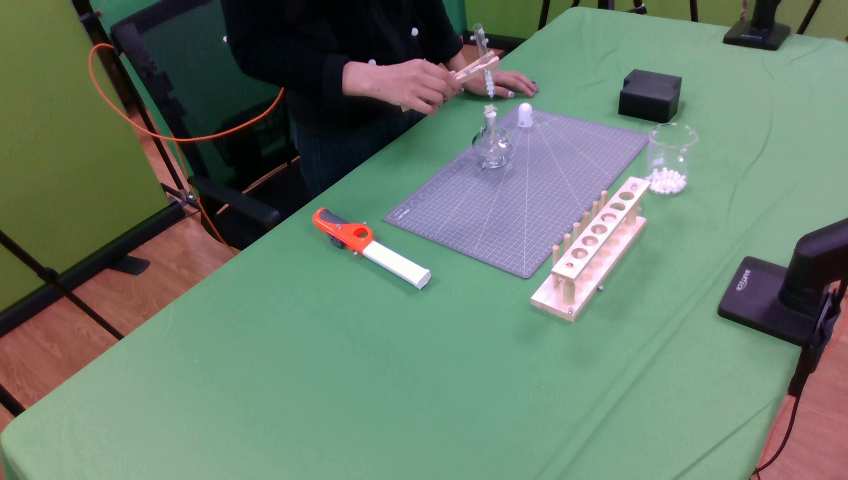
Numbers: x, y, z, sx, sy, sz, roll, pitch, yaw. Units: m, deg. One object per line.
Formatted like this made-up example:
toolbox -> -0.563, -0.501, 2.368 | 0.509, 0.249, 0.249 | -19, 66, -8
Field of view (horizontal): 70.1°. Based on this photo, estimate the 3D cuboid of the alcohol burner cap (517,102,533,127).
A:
alcohol burner cap -> 0.205, -0.255, 1.223 | 0.034, 0.048, 0.033 | -6, 40, 5

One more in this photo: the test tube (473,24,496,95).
test tube -> 0.100, -0.293, 0.994 | 0.017, 0.151, 0.017 | -7, 60, 12

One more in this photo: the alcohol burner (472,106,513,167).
alcohol burner -> 0.125, -0.195, 1.111 | 0.078, 0.119, 0.077 | -5, 42, 5

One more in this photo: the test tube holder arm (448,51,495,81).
test tube holder arm -> 0.079, -0.283, 0.997 | 0.088, 0.015, 0.010 | -33, 58, -5

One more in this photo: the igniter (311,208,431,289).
igniter -> -0.096, 0.008, 0.986 | 0.274, 0.025, 0.057 | 28, 63, 36

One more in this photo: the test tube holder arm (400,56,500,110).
test tube holder arm -> 0.042, -0.257, 0.993 | 0.178, 0.015, 0.013 | -27, 57, -1

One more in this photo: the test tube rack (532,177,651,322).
test tube rack -> 0.247, 0.002, 0.883 | 0.066, 0.085, 0.243 | 22, 49, 32

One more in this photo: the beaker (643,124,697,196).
beaker -> 0.407, -0.132, 1.001 | 0.084, 0.101, 0.073 | -20, 42, -13
